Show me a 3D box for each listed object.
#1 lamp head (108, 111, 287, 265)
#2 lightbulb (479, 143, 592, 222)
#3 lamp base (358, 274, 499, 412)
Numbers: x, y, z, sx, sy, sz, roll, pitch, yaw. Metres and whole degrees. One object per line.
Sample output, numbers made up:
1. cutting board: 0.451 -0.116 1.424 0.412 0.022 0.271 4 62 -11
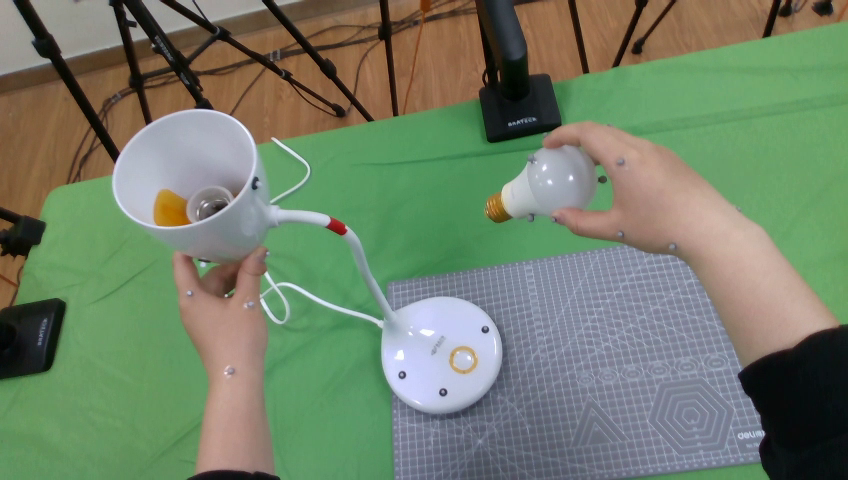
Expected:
1. lamp head: -0.180 -0.031 0.514 0.112 0.124 0.111 -4 63 8
2. lightbulb: 0.089 -0.041 0.506 0.107 0.060 0.059 -24 50 41
3. lamp base: -0.008 0.105 0.736 0.178 0.182 0.160 13 64 23
